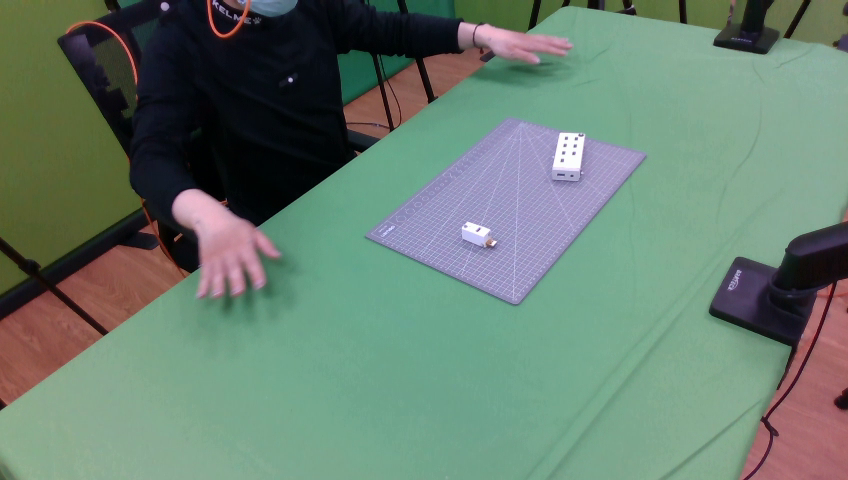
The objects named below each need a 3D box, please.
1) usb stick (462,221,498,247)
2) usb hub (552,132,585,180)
[{"bbox_3d":[0.089,-0.007,0.956,0.059,0.027,0.021,24,48,28],"label":"usb stick"},{"bbox_3d":[0.266,-0.154,1.103,0.049,0.025,0.125,6,43,15],"label":"usb hub"}]
